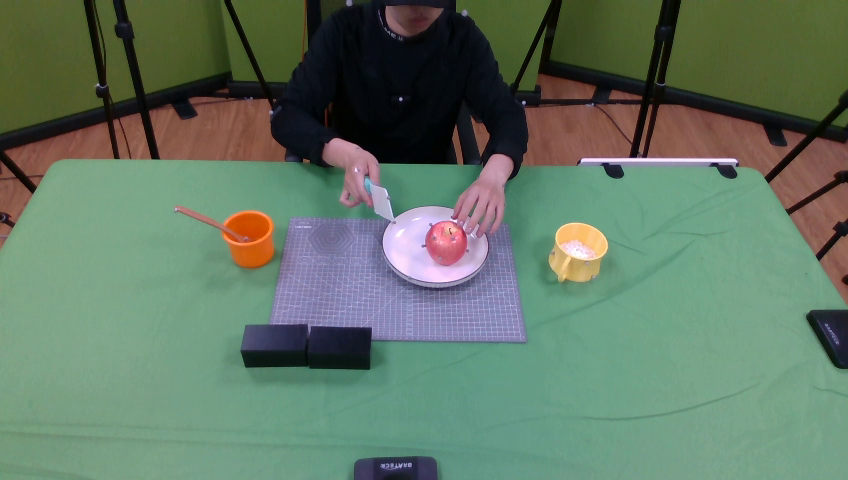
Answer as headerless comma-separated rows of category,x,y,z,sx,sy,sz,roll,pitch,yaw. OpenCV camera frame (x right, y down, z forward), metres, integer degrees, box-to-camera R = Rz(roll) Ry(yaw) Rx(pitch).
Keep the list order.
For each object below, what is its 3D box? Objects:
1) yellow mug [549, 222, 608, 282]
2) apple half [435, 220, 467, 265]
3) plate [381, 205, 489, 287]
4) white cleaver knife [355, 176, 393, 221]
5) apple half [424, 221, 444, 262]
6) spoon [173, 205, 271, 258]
yellow mug,0.287,0.031,1.159,0.099,0.064,0.130,27,51,21
apple half,0.054,0.009,1.141,0.053,0.075,0.080,13,43,3
plate,0.021,0.015,1.170,0.209,0.038,0.208,2,46,-2
white cleaver knife,-0.095,-0.078,1.118,0.021,0.066,0.285,-13,13,-12
apple half,0.016,0.002,1.145,0.033,0.081,0.081,13,46,3
spoon,-0.362,-0.017,1.098,0.021,0.195,0.041,-32,42,27
